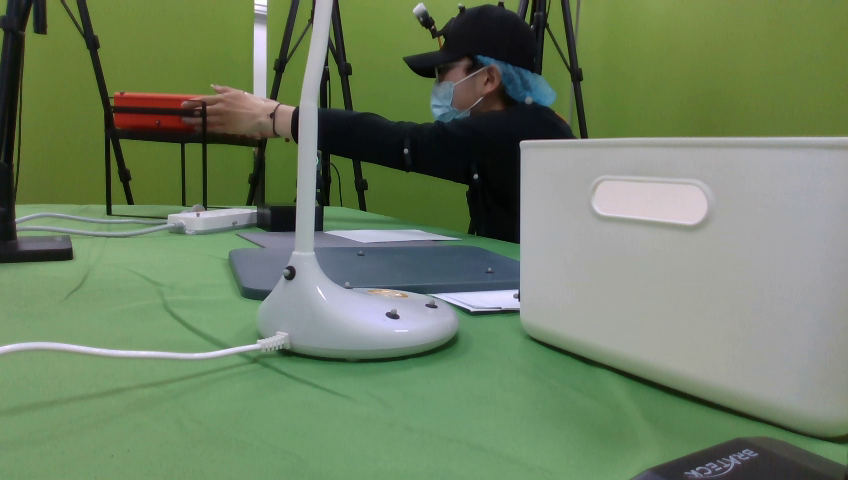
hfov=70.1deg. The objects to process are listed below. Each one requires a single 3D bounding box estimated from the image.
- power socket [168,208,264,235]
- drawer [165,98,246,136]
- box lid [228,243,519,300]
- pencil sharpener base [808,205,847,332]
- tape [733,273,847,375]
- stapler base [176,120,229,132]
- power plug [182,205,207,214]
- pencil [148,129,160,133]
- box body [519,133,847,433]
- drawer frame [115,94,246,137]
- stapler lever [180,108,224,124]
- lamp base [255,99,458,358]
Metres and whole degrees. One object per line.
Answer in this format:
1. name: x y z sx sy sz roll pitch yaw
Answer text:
1. power socket: -0.381 -0.038 1.129 0.072 0.032 0.227 4 8 17
2. drawer: -0.540 -0.279 1.374 0.212 0.073 0.194 2 8 5
3. box lid: -0.044 0.033 0.757 0.373 0.015 0.262 -1 9 -22
4. pencil sharpener base: 0.386 0.026 0.519 0.062 0.107 0.076 -5 11 -43
5. tape: 0.295 0.059 0.455 0.117 0.052 0.117 2 7 0
6. stapler base: -0.496 -0.257 1.363 0.041 0.024 0.131 2 9 22
7. power plug: -0.456 -0.041 1.195 0.052 0.035 0.072 1 40 24
8. pencil: -0.529 -0.258 1.360 0.012 0.012 0.195 7 20 34
9. box body: 0.279 0.005 0.485 0.366 0.160 0.253 -3 9 -36
10. drawer frame: -0.543 -0.281 1.373 0.213 0.082 0.201 2 8 4
11. stapler lever: -0.496 -0.281 1.358 0.027 0.040 0.118 2 8 22
12. lamp base: -0.056 -0.013 0.462 0.160 0.180 0.180 6 11 27
